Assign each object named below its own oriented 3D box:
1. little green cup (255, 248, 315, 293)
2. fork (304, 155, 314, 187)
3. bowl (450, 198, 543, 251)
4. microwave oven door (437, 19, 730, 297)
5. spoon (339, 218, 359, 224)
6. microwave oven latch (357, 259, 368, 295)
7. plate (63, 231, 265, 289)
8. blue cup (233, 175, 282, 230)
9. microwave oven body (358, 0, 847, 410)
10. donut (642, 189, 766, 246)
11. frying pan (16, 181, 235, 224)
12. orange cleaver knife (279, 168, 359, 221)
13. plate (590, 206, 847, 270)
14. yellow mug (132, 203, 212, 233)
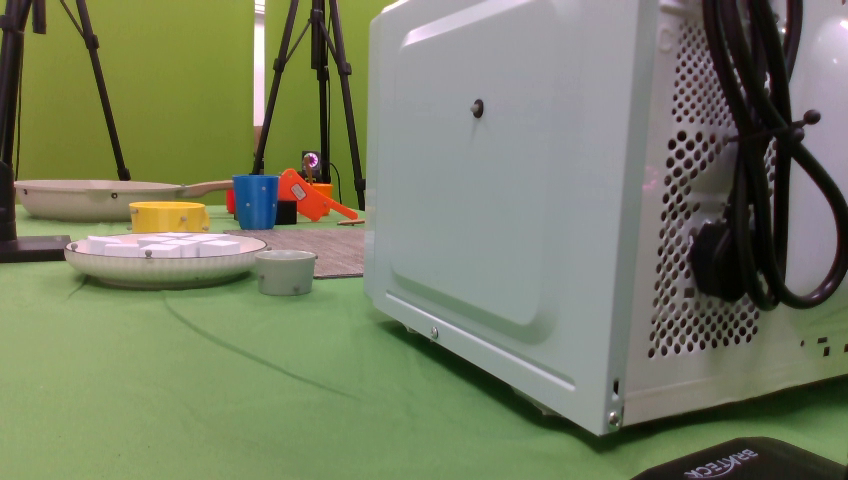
[{"bbox_3d":[-0.144,0.031,0.627,0.061,0.038,0.061,2,7,0],"label":"little green cup"},{"bbox_3d":[-0.268,-0.134,1.447,0.028,0.018,0.207,2,-36,-1],"label":"fork"},{"bbox_3d":[0.115,-0.025,0.987,0.151,0.077,0.151,2,7,0],"label":"bowl"},{"bbox_3d":[0.181,-0.076,0.618,0.358,0.243,0.039,-2,9,-28],"label":"microwave oven door"},{"bbox_3d":[-0.087,-0.041,1.268,0.193,0.021,0.041,3,18,14],"label":"spoon"},{"bbox_3d":[-0.019,0.031,0.529,0.079,0.029,0.030,-1,7,-26],"label":"microwave oven latch"},{"bbox_3d":[-0.288,0.021,0.687,0.208,0.039,0.207,2,8,0],"label":"plate"},{"bbox_3d":[-0.314,-0.071,1.141,0.093,0.100,0.092,0,7,0],"label":"blue cup"},{"bbox_3d":[0.210,-0.051,0.471,0.444,0.260,0.324,-1,7,-28],"label":"microwave oven body"},{"bbox_3d":[0.238,-0.018,0.519,0.099,0.048,0.099,5,3,0],"label":"donut"},{"bbox_3d":[-0.553,-0.097,1.265,0.490,0.102,0.305,-10,13,-24],"label":"frying pan"},{"bbox_3d":[-0.236,-0.084,1.333,0.212,0.077,0.012,31,-9,-32],"label":"orange cleaver knife"},{"bbox_3d":[0.246,-0.003,0.509,0.209,0.038,0.209,3,5,0],"label":"plate"},{"bbox_3d":[-0.356,-0.020,0.878,0.099,0.064,0.131,4,7,22],"label":"yellow mug"}]
